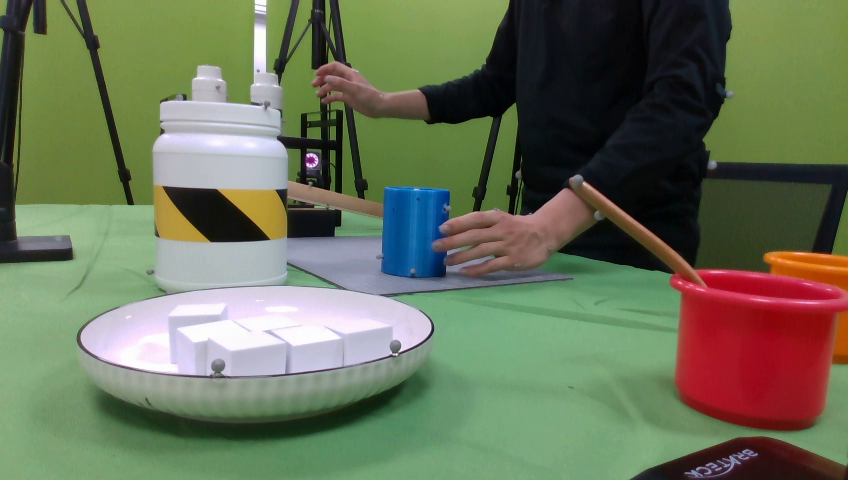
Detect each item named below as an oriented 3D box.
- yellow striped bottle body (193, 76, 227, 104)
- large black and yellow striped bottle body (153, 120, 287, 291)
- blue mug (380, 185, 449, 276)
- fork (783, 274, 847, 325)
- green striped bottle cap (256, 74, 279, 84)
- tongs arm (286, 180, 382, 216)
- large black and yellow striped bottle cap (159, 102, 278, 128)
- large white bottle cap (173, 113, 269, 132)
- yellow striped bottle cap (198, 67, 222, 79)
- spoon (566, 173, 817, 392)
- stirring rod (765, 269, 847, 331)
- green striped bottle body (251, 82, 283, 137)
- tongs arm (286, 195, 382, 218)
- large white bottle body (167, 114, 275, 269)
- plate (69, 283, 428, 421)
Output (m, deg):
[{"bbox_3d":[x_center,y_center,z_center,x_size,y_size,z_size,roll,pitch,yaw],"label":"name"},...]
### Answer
[{"bbox_3d":[-0.414,-0.268,1.169,0.063,0.120,0.063,2,7,0],"label":"yellow striped bottle body"},{"bbox_3d":[-0.208,-0.042,0.626,0.131,0.184,0.130,2,7,0],"label":"large black and yellow striped bottle body"},{"bbox_3d":[-0.018,-0.016,0.764,0.083,0.106,0.116,-2,8,-25],"label":"blue mug"},{"bbox_3d":[0.332,0.018,0.443,0.028,0.018,0.207,-1,-36,-15],"label":"fork"},{"bbox_3d":[-0.314,-0.321,1.214,0.044,0.020,0.044,1,8,0],"label":"green striped bottle cap"},{"bbox_3d":[-0.123,-0.066,1.147,0.387,0.026,0.050,12,-2,-37],"label":"tongs arm"},{"bbox_3d":[-0.207,-0.125,0.615,0.115,0.019,0.115,2,6,0],"label":"large black and yellow striped bottle cap"},{"bbox_3d":[-0.254,-0.146,0.760,0.115,0.018,0.115,1,7,0],"label":"large white bottle cap"},{"bbox_3d":[-0.412,-0.320,1.163,0.044,0.018,0.044,1,6,0],"label":"yellow striped bottle cap"},{"bbox_3d":[0.161,0.024,0.370,0.193,0.021,0.042,47,18,3],"label":"spoon"},{"bbox_3d":[0.352,0.020,0.484,0.176,0.006,0.014,-40,-7,13],"label":"stirring rod"},{"bbox_3d":[-0.317,-0.270,1.220,0.063,0.119,0.063,2,7,0],"label":"green striped bottle body"},{"bbox_3d":[-0.165,-0.074,1.216,0.389,0.027,0.028,12,-6,-24],"label":"tongs arm"},{"bbox_3d":[-0.256,-0.063,0.771,0.131,0.184,0.130,2,7,0],"label":"large white bottle body"},{"bbox_3d":[-0.102,0.066,0.381,0.208,0.039,0.207,2,7,0],"label":"plate"}]
